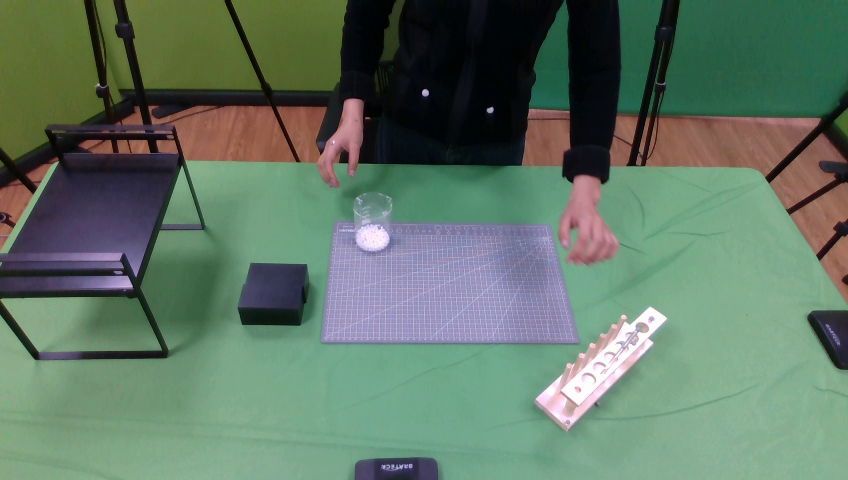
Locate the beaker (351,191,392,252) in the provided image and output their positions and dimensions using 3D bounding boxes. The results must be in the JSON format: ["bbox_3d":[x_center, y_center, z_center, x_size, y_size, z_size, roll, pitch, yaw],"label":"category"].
[{"bbox_3d":[-0.097,-0.034,1.162,0.084,0.101,0.073,-29,55,-28],"label":"beaker"}]

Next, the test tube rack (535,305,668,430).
[{"bbox_3d":[0.290,0.193,0.984,0.242,0.085,0.066,-32,57,-30],"label":"test tube rack"}]

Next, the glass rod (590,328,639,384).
[{"bbox_3d":[0.279,0.182,0.902,0.008,0.200,0.008,5,52,-6],"label":"glass rod"}]
